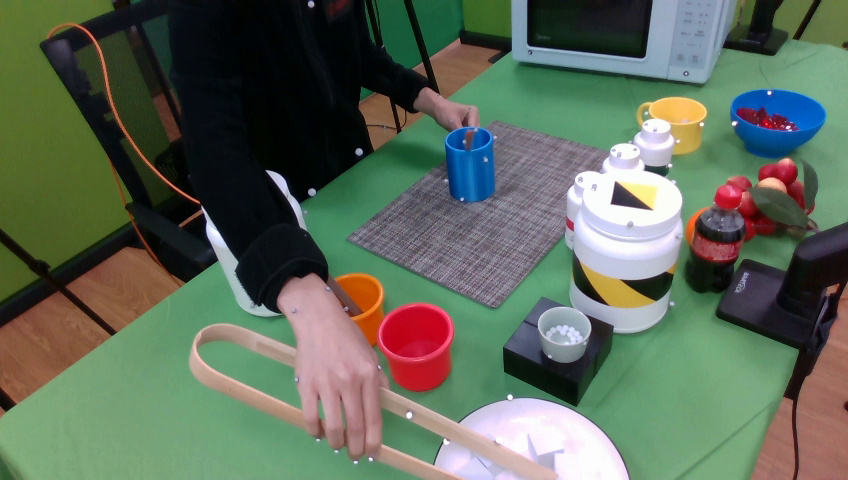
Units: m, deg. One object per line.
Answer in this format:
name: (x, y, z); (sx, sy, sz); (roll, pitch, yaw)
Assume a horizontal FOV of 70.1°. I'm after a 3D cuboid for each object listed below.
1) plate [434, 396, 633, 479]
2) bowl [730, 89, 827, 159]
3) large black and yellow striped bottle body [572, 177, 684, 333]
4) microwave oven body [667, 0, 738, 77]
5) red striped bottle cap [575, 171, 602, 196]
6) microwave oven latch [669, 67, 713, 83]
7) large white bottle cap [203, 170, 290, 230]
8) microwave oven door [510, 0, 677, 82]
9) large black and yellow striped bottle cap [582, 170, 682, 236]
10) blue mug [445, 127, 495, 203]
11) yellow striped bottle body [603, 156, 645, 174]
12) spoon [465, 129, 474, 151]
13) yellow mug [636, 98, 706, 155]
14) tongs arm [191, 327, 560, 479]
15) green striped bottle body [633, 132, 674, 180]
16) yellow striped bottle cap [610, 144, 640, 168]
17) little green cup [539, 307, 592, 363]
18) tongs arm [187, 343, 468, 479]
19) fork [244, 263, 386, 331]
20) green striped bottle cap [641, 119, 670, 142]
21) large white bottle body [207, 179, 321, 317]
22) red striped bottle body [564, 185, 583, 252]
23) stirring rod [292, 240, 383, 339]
plate: (0.112, 0.261, 0.634); (0.209, 0.038, 0.208); (-5, 40, 4)
bowl: (0.615, -0.197, 1.068); (0.151, 0.077, 0.150); (-5, 40, 4)
large black and yellow striped bottle body: (0.262, 0.017, 0.788); (0.131, 0.185, 0.130); (-5, 40, 4)
microwave oven body: (0.462, -0.552, 1.369); (0.439, 0.261, 0.326); (15, 45, 26)
red striped bottle cap: (0.242, -0.081, 0.876); (0.044, 0.018, 0.044); (-5, 43, 5)
microwave oven latch: (0.556, -0.349, 1.261); (0.078, 0.029, 0.030); (16, 46, 27)
large white bottle cap: (-0.241, -0.057, 0.822); (0.115, 0.018, 0.114); (-4, 40, 4)
microwave oven door: (0.352, -0.477, 1.289); (0.353, 0.245, 0.039); (15, 44, 25)
large black and yellow striped bottle cap: (0.252, -0.048, 0.735); (0.115, 0.019, 0.114); (-3, 40, 3)
blue mug: (0.081, -0.140, 1.060); (0.082, 0.106, 0.116); (-5, 40, 4)
yellow striped bottle body: (0.313, -0.089, 0.955); (0.063, 0.121, 0.062); (-4, 40, 4)
spoon: (0.073, -0.144, 0.998); (0.041, 0.194, 0.021); (-5, 75, 3)
yellow mug: (0.453, -0.217, 1.128); (0.100, 0.064, 0.129); (-34, 46, -27)
tongs arm: (-0.043, 0.174, 0.598); (0.385, 0.026, 0.050); (26, 39, -2)
green striped bottle body: (0.376, -0.135, 1.001); (0.063, 0.120, 0.063); (-5, 40, 5)
yellow striped bottle cap: (0.307, -0.128, 0.923); (0.044, 0.019, 0.044); (-5, 39, 5)
little green cup: (0.167, 0.114, 0.721); (0.061, 0.039, 0.061); (-4, 43, 4)
tongs arm: (-0.049, 0.191, 0.575); (0.388, 0.028, 0.028); (25, 43, -4)
fork: (-0.141, 0.077, 0.806); (0.209, 0.018, 0.028); (30, 44, -24)
green striped bottle cap: (0.371, -0.175, 0.968); (0.044, 0.020, 0.044); (-6, 41, 5)
large white bottle body: (-0.232, 0.007, 0.876); (0.130, 0.185, 0.130); (-5, 40, 4)
red striped bottle body: (0.247, -0.041, 0.910); (0.063, 0.120, 0.062); (-3, 39, 3)
stirring rod: (-0.118, 0.068, 0.825); (0.176, 0.006, 0.014); (48, 60, -3)
